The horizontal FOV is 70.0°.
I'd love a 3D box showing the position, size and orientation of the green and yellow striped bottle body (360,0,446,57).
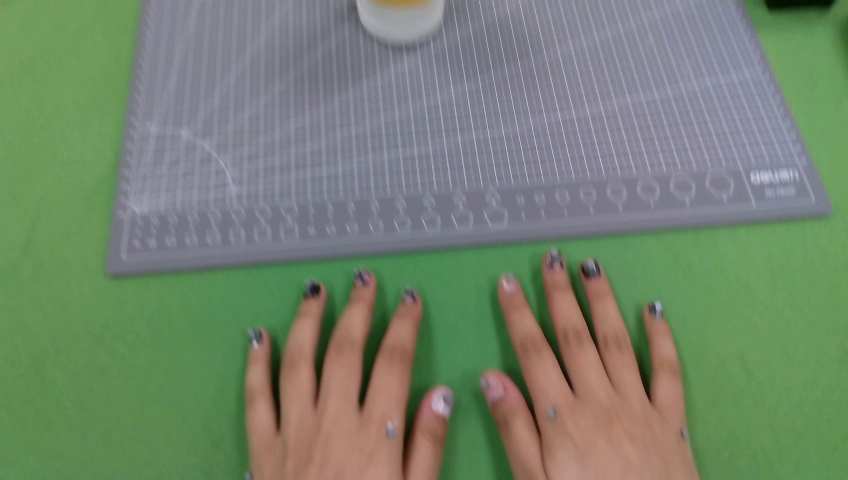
[{"bbox_3d":[-0.015,-0.186,0.401,0.063,0.120,0.062,0,63,0],"label":"green and yellow striped bottle body"}]
